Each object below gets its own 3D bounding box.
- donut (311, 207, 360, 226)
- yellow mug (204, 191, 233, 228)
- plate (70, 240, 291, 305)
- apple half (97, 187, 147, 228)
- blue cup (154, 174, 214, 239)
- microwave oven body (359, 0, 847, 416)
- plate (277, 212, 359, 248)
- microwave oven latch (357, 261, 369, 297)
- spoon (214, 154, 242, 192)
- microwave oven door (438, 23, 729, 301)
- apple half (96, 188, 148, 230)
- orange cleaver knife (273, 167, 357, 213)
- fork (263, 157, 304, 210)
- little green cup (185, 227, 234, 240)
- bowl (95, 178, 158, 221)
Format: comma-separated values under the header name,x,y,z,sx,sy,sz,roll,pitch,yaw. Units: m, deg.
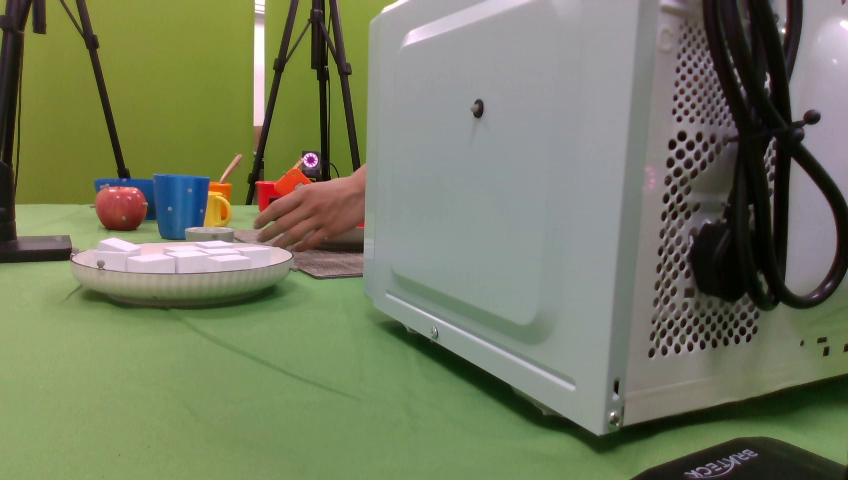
name,x,y,z,sx,sy,sz,roll,pitch,yaw
donut,-0.137,-0.029,0.995,0.099,0.048,0.099,4,9,0
yellow mug,-0.415,-0.057,1.131,0.130,0.064,0.100,6,7,16
plate,-0.242,0.031,0.618,0.208,0.039,0.207,2,8,0
apple half,-0.534,-0.059,1.071,0.082,0.081,0.032,-1,11,-25
blue cup,-0.391,-0.054,0.978,0.093,0.100,0.092,4,6,0
microwave oven body,0.211,-0.047,0.474,0.444,0.260,0.324,-1,7,-28
plate,-0.135,-0.017,0.993,0.209,0.038,0.209,3,8,0
microwave oven latch,-0.019,0.033,0.531,0.079,0.029,0.030,-1,7,-28
spoon,-0.439,-0.124,1.318,0.041,0.193,0.022,5,-36,17
microwave oven door,0.181,-0.072,0.620,0.358,0.243,0.039,-2,8,-29
apple half,-0.517,-0.052,1.036,0.081,0.074,0.053,2,10,-26
orange cleaver knife,-0.238,-0.090,1.381,0.212,0.077,0.012,31,0,-19
fork,-0.345,-0.143,1.505,0.028,0.019,0.207,-4,46,28
little green cup,-0.285,0.005,0.805,0.061,0.038,0.061,2,8,0
bowl,-0.576,-0.081,1.217,0.151,0.077,0.151,3,8,0
